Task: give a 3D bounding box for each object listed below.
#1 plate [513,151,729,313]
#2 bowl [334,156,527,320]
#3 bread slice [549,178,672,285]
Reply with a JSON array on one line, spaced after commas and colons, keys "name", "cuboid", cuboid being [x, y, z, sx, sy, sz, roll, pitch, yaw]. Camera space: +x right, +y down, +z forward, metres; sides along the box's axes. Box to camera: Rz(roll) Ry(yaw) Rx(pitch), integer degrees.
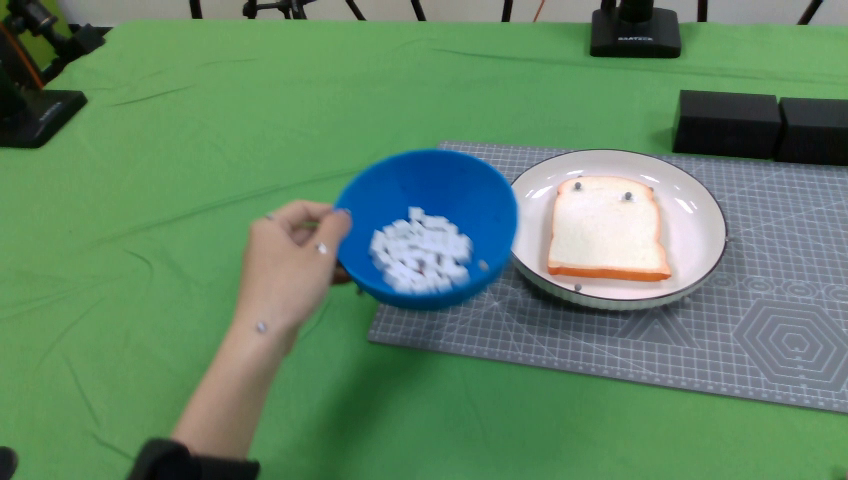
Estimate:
[{"name": "plate", "cuboid": [0.178, -0.009, 0.587, 0.209, 0.038, 0.207, -4, 46, 5]}, {"name": "bowl", "cuboid": [0.009, 0.011, 0.495, 0.151, 0.077, 0.150, -4, 51, 6]}, {"name": "bread slice", "cuboid": [0.176, -0.011, 0.593, 0.107, 0.018, 0.133, 1, 48, 10]}]
